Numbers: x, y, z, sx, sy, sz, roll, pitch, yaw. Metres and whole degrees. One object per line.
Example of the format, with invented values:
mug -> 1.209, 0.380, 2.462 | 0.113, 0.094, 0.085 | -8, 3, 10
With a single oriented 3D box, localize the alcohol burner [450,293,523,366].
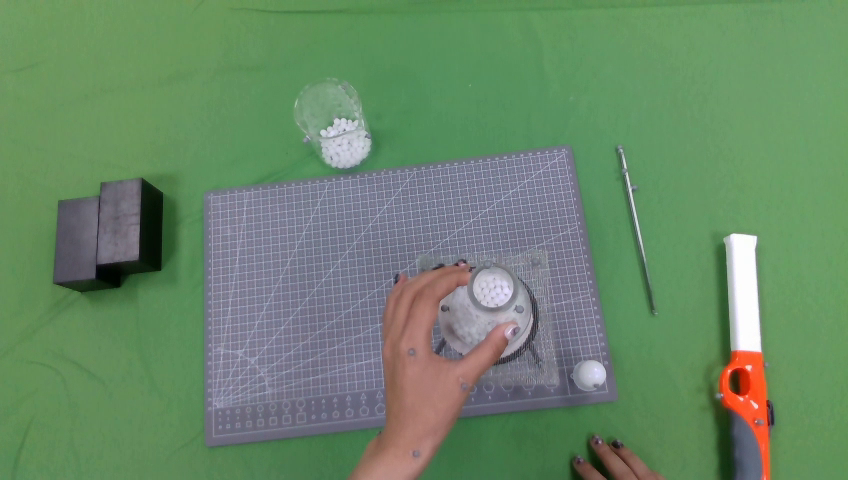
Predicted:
alcohol burner -> 0.063, 0.089, 0.620 | 0.078, 0.120, 0.077 | -2, 74, 6

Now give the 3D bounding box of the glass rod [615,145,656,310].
glass rod -> 0.241, -0.018, 0.693 | 0.008, 0.008, 0.198 | -8, 74, 2

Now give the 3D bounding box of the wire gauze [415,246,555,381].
wire gauze -> 0.054, 0.066, 0.549 | 0.125, 0.011, 0.121 | -1, 77, 2

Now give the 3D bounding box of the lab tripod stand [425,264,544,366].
lab tripod stand -> 0.061, 0.085, 0.611 | 0.148, 0.132, 0.147 | -1, 76, 5

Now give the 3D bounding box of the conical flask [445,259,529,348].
conical flask -> 0.053, 0.046, 0.492 | 0.075, 0.122, 0.075 | -1, 76, 4

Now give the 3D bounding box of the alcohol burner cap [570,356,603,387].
alcohol burner cap -> 0.173, 0.137, 0.636 | 0.034, 0.048, 0.033 | -1, 75, 5

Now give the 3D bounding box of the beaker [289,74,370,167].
beaker -> -0.102, -0.132, 0.703 | 0.083, 0.101, 0.074 | 28, 79, 11

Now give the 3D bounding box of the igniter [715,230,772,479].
igniter -> 0.335, 0.124, 0.639 | 0.057, 0.025, 0.275 | 6, 75, -5
